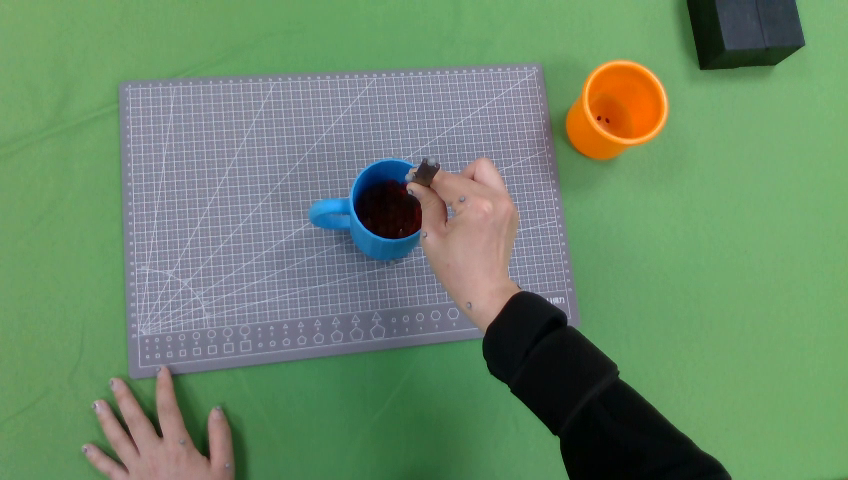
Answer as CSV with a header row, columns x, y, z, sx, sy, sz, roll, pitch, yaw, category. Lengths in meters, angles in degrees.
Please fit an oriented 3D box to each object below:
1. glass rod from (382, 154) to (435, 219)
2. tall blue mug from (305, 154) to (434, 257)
x,y,z,sx,sy,sz,roll,pitch,yaw,category
-0.017,-0.041,0.515,0.008,0.199,0.008,2,80,-13,glass rod
-0.049,-0.022,0.576,0.107,0.108,0.077,-29,86,-12,tall blue mug
